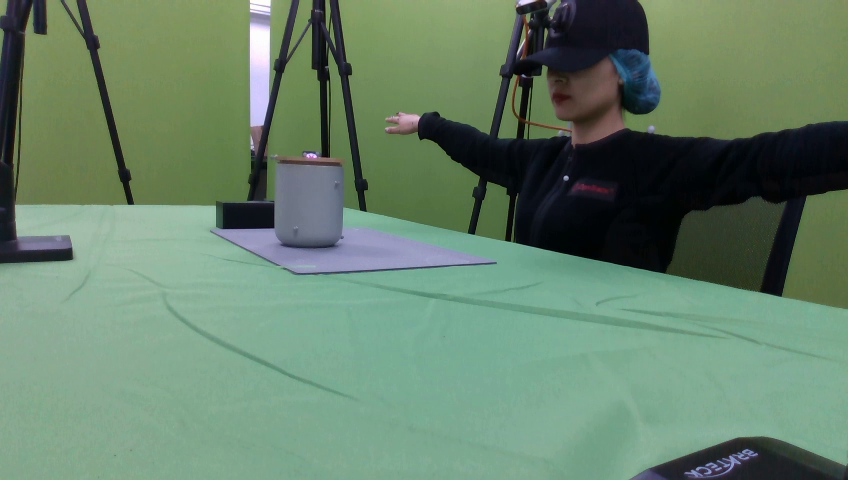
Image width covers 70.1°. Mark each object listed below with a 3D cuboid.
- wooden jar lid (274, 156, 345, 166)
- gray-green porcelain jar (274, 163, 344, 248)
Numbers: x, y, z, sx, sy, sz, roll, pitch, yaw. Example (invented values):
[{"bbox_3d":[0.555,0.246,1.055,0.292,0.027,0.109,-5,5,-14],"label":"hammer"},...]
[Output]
[{"bbox_3d":[-0.177,-0.119,0.936,0.108,0.020,0.108,2,8,0],"label":"wooden jar lid"},{"bbox_3d":[-0.180,-0.055,0.945,0.106,0.126,0.106,2,7,0],"label":"gray-green porcelain jar"}]
